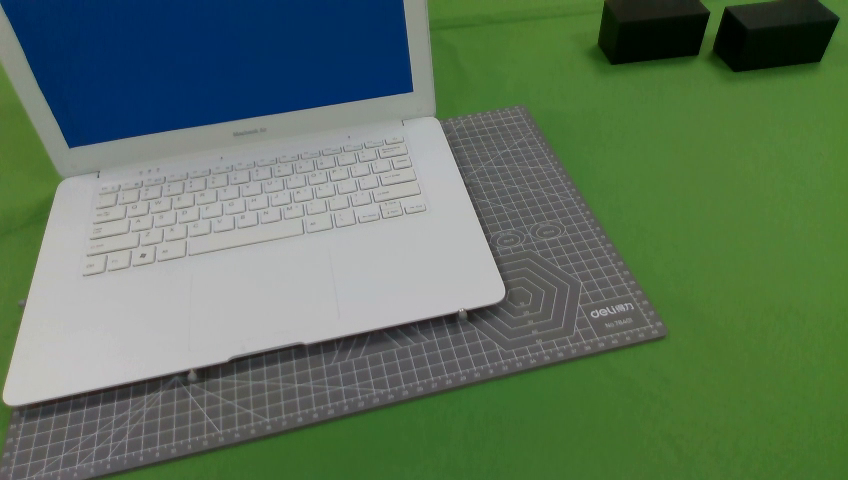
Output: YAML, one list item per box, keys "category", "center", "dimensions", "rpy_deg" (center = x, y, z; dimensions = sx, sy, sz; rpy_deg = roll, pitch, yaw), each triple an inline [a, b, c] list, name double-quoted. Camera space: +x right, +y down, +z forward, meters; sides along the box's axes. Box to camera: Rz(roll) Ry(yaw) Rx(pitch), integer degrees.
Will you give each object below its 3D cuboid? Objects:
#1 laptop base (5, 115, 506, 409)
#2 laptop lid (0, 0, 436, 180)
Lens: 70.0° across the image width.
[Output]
- category: "laptop base"
  center: [-0.133, 0.000, 0.501]
  dimensions: [0.355, 0.023, 0.233]
  rpy_deg: [-11, 51, -7]
- category: "laptop lid"
  center: [-0.170, -0.178, 0.508]
  dimensions: [0.357, 0.244, 0.013]
  rpy_deg: [-13, 37, -6]
